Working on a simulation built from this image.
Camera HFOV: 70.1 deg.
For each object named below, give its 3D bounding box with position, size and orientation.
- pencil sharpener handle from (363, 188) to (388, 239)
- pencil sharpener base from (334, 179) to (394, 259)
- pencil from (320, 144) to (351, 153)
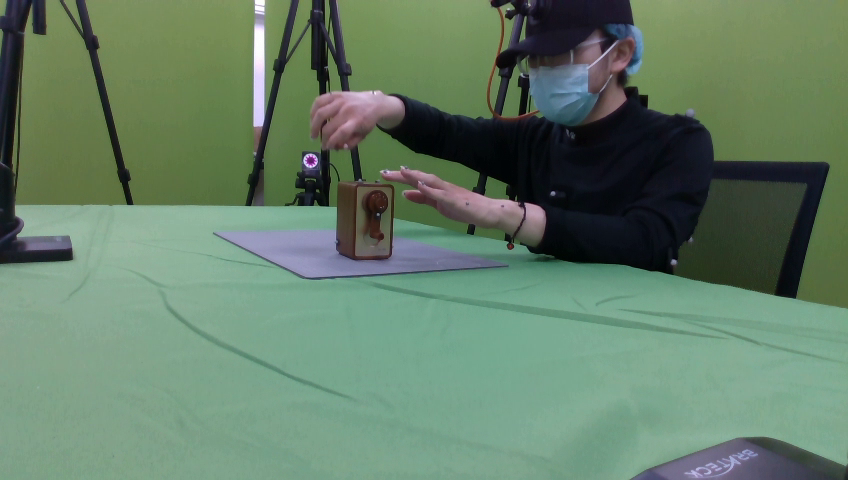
[{"bbox_3d":[-0.061,-0.035,0.809,0.036,0.067,0.030,4,6,-29],"label":"pencil sharpener handle"},{"bbox_3d":[-0.085,-0.030,0.855,0.061,0.107,0.076,-1,9,-29],"label":"pencil sharpener base"},{"bbox_3d":[-0.150,-0.154,1.019,0.012,0.012,0.193,-1,10,-23],"label":"pencil"}]
